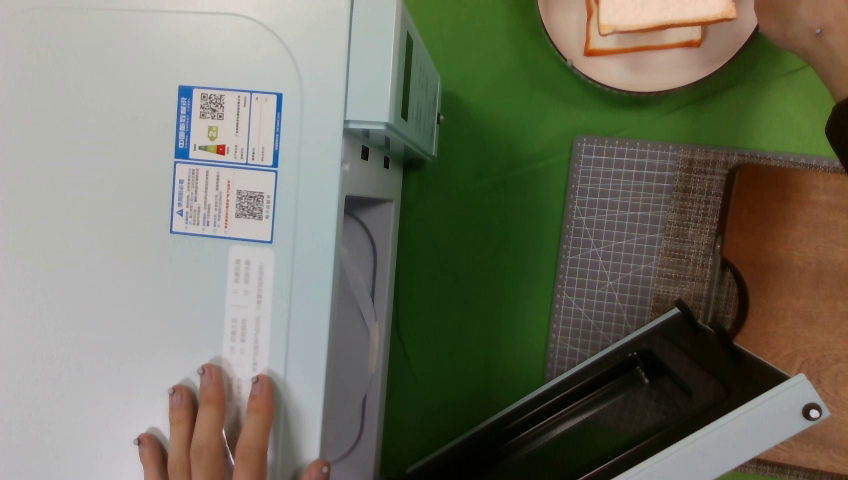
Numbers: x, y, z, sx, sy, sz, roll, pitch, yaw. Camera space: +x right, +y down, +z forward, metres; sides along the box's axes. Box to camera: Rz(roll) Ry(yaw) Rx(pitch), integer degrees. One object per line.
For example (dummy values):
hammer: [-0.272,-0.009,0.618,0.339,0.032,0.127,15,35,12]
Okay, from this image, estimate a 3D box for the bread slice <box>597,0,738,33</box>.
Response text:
bread slice: [0.191,-0.240,0.499,0.107,0.018,0.134,-7,86,10]

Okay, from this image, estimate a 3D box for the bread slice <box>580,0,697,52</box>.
bread slice: [0.194,-0.244,0.559,0.105,0.019,0.131,-4,94,6]

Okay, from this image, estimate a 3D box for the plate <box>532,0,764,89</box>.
plate: [0.201,-0.241,0.556,0.207,0.039,0.207,0,93,8]

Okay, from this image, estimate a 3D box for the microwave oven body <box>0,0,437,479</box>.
microwave oven body: [-0.175,0.041,0.511,0.325,0.260,0.442,5,95,7]

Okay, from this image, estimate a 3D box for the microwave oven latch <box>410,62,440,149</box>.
microwave oven latch: [-0.001,-0.127,0.574,0.030,0.029,0.079,6,95,7]

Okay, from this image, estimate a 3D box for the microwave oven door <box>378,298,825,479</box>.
microwave oven door: [0.090,0.173,0.481,0.356,0.244,0.039,-34,88,8]

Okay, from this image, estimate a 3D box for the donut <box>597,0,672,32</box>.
donut: [0.196,-0.233,0.528,0.099,0.048,0.099,0,98,3]
